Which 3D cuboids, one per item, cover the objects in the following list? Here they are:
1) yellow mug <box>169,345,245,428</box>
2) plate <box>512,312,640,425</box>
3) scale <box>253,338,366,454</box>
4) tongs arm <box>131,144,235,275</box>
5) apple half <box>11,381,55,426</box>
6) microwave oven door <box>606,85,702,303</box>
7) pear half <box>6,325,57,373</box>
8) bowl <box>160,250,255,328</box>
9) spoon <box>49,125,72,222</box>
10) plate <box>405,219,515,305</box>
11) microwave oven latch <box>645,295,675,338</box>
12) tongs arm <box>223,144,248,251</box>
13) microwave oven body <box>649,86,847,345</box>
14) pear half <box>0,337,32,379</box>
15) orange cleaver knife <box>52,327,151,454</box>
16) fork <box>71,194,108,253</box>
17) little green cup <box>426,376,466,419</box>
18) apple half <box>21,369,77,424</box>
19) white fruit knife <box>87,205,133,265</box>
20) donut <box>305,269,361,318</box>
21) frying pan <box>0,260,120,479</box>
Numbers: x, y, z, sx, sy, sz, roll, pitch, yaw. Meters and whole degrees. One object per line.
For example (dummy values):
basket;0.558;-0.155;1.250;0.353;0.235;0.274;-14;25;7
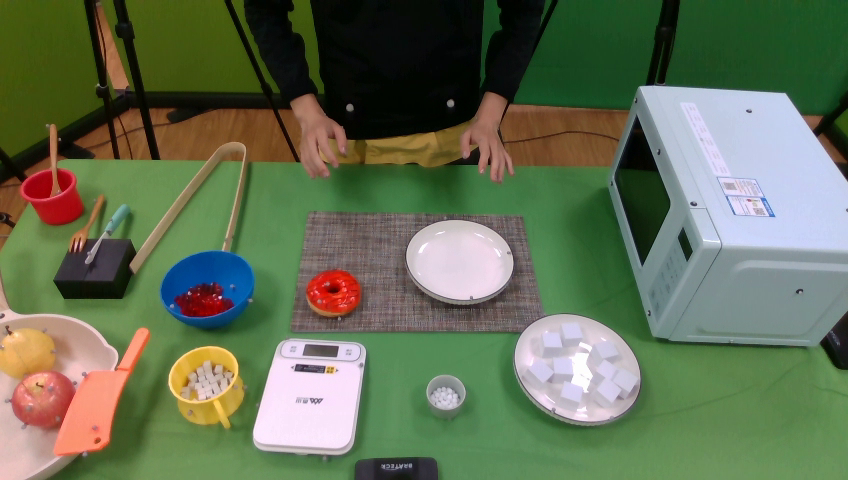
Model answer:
yellow mug;-0.322;0.230;0.922;0.100;0.064;0.130;-24;53;-25
plate;0.246;0.213;0.999;0.208;0.039;0.206;2;46;-2
scale;-0.175;0.236;0.951;0.149;0.032;0.199;4;45;0
tongs arm;-0.484;-0.076;1.236;0.028;0.028;0.385;5;45;13
apple half;-0.570;0.246;0.875;0.081;0.081;0.033;32;49;24
microwave oven door;0.422;-0.094;1.140;0.039;0.245;0.353;2;46;-1
pear half;-0.607;0.158;0.935;0.076;0.110;0.056;31;51;19
bowl;-0.362;0.098;1.040;0.151;0.077;0.150;2;45;-2
spoon;-0.718;-0.131;1.189;0.041;0.021;0.193;-4;90;-6
plate;0.067;0.044;1.144;0.209;0.038;0.208;2;46;-2
microwave oven latch;0.411;0.134;1.061;0.030;0.029;0.078;3;45;0
tongs arm;-0.397;-0.073;1.232;0.051;0.027;0.382;-3;45;1
microwave oven body;0.567;-0.053;1.118;0.326;0.261;0.439;2;45;-1
pear half;-0.630;0.184;0.922;0.070;0.088;0.031;29;49;18
orange cleaver knife;-0.462;0.212;0.879;0.077;0.012;0.210;6;45;-1
fork;-0.634;-0.036;1.158;0.028;0.019;0.206;-7;31;-8
little green cup;0.033;0.248;0.950;0.061;0.039;0.061;2;46;-2
apple half;-0.546;0.226;0.898;0.080;0.075;0.053;30;48;27
white fruit knife;-0.584;-0.013;1.129;0.016;0.027;0.206;0;32;-5
donut;-0.160;0.094;1.075;0.099;0.048;0.098;3;45;-3
frying pan;-0.647;0.164;0.936;0.307;0.103;0.485;-19;58;-22
